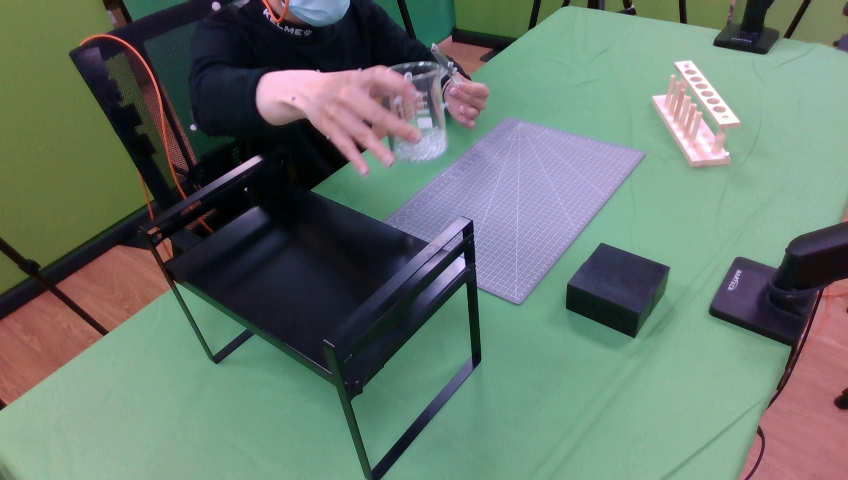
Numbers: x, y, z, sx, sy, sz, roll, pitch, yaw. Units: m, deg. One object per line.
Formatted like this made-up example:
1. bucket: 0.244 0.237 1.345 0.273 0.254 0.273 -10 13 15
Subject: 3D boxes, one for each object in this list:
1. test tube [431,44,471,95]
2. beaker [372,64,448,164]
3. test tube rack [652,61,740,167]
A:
1. test tube: 0.049 -0.290 1.039 0.017 0.152 0.017 -8 70 24
2. beaker: -0.010 -0.146 0.703 0.084 0.100 0.074 -5 30 8
3. test tube rack: 0.499 -0.242 1.130 0.067 0.085 0.241 -5 41 3
